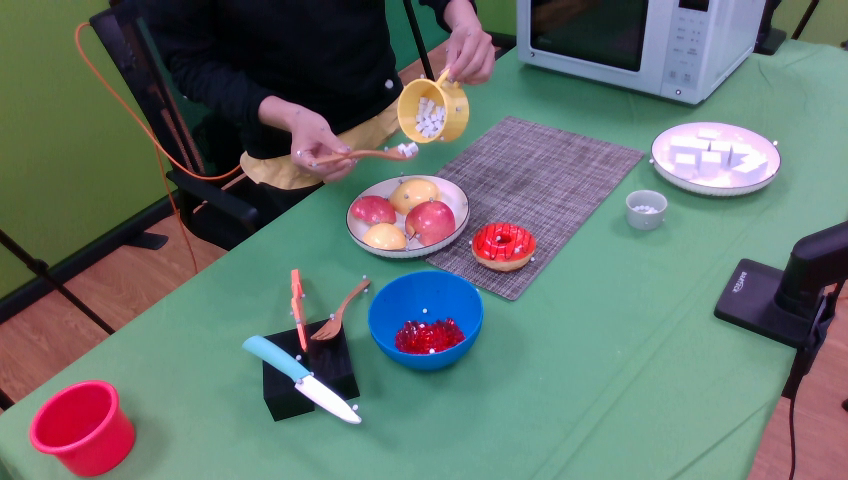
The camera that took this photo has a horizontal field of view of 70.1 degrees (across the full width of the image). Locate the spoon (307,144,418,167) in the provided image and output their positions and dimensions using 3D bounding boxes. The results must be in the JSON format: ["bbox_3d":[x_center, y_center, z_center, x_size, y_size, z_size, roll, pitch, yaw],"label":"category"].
[{"bbox_3d":[-0.087,-0.124,0.884,0.195,0.021,0.041,-11,35,-41],"label":"spoon"}]

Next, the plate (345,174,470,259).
[{"bbox_3d":[-0.026,-0.037,1.004,0.209,0.038,0.208,-4,40,4],"label":"plate"}]

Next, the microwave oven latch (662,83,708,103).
[{"bbox_3d":[0.517,-0.296,1.204,0.078,0.029,0.030,28,52,35],"label":"microwave oven latch"}]

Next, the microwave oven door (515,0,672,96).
[{"bbox_3d":[0.343,-0.455,1.259,0.353,0.245,0.039,26,51,33],"label":"microwave oven door"}]

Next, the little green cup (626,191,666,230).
[{"bbox_3d":[0.352,-0.046,0.963,0.061,0.039,0.061,-4,40,4],"label":"little green cup"}]

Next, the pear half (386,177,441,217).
[{"bbox_3d":[-0.030,-0.079,1.033,0.109,0.056,0.076,-1,36,16],"label":"pear half"}]

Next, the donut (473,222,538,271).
[{"bbox_3d":[0.123,0.009,0.923,0.099,0.048,0.098,-3,37,3],"label":"donut"}]

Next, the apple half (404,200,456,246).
[{"bbox_3d":[0.010,-0.035,0.969,0.075,0.053,0.080,-27,41,-22],"label":"apple half"}]

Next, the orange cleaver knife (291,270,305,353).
[{"bbox_3d":[-0.175,0.094,0.844,0.012,0.077,0.210,-11,14,-10],"label":"orange cleaver knife"}]

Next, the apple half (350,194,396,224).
[{"bbox_3d":[-0.080,-0.056,1.008,0.081,0.033,0.081,10,25,-4],"label":"apple half"}]

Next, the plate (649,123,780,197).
[{"bbox_3d":[0.497,-0.135,1.046,0.207,0.039,0.206,-4,40,4],"label":"plate"}]

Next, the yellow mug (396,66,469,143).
[{"bbox_3d":[0.021,-0.221,0.971,0.099,0.130,0.064,42,30,20],"label":"yellow mug"}]

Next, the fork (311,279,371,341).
[{"bbox_3d":[-0.108,0.092,0.832,0.028,0.019,0.207,-6,19,15],"label":"fork"}]

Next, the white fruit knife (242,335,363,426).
[{"bbox_3d":[-0.148,0.167,0.730,0.206,0.016,0.027,26,80,31],"label":"white fruit knife"}]

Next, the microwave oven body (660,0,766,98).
[{"bbox_3d":[0.472,-0.513,1.317,0.438,0.261,0.327,26,51,34],"label":"microwave oven body"}]

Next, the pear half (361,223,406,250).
[{"bbox_3d":[-0.063,-0.012,0.959,0.071,0.031,0.087,2,25,-25],"label":"pear half"}]

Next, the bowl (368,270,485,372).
[{"bbox_3d":[0.007,0.118,0.791,0.151,0.077,0.150,-5,40,4],"label":"bowl"}]
